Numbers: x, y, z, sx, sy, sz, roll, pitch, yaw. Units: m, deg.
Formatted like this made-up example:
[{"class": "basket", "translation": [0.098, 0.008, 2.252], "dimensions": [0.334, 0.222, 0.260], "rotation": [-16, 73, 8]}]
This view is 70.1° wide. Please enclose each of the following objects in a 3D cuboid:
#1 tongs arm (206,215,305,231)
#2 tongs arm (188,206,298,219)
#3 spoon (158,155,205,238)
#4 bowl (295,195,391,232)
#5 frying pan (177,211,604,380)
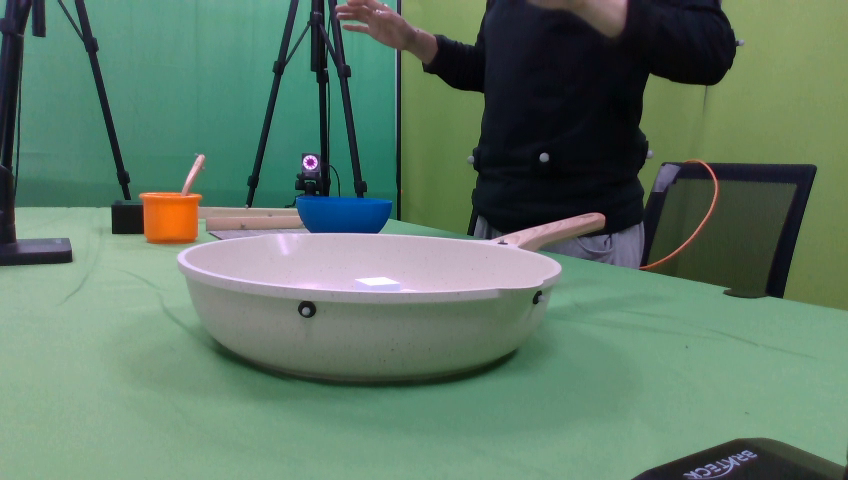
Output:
[{"class": "tongs arm", "translation": [-0.257, -0.040, 1.241], "dimensions": [0.390, 0.028, 0.028], "rotation": [-4, 7, -42]}, {"class": "tongs arm", "translation": [-0.301, -0.055, 1.308], "dimensions": [0.387, 0.026, 0.050], "rotation": [-1, 9, -29]}, {"class": "spoon", "translation": [-0.392, -0.076, 0.998], "dimensions": [0.041, 0.193, 0.021], "rotation": [1, -36, 6]}, {"class": "bowl", "translation": [-0.127, -0.027, 0.946], "dimensions": [0.151, 0.077, 0.151], "rotation": [2, 7, 0]}, {"class": "frying pan", "translation": [0.034, 0.019, 0.556], "dimensions": [0.490, 0.102, 0.305], "rotation": [-15, 18, -42]}]
